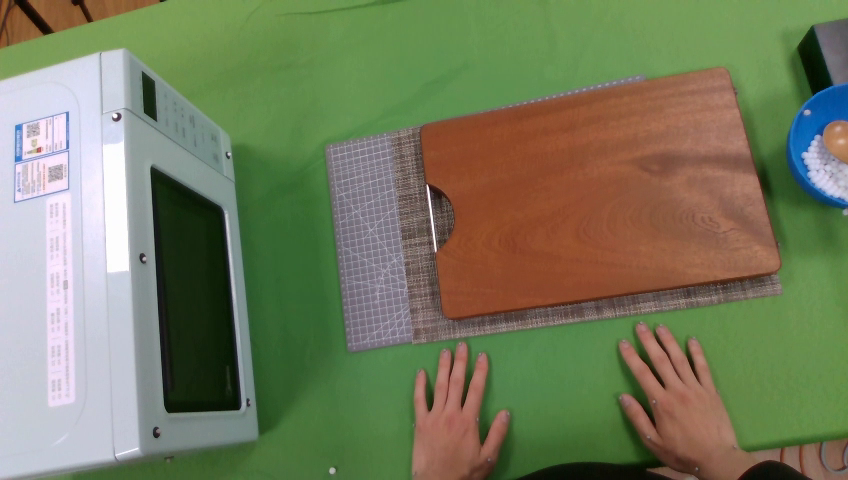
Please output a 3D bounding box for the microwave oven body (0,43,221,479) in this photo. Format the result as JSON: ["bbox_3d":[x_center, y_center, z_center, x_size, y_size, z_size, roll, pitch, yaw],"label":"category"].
[{"bbox_3d":[-0.428,0.050,0.741,0.326,0.262,0.439,-12,75,7],"label":"microwave oven body"}]

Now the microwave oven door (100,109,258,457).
[{"bbox_3d":[-0.280,0.058,0.707,0.039,0.245,0.353,-13,75,8],"label":"microwave oven door"}]

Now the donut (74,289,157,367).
[{"bbox_3d":[-0.383,0.109,0.753,0.099,0.048,0.099,0,91,-2],"label":"donut"}]

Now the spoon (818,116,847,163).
[{"bbox_3d":[0.488,-0.064,0.661,0.041,0.022,0.191,-11,52,6],"label":"spoon"}]

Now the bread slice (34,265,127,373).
[{"bbox_3d":[-0.404,0.102,0.710,0.134,0.018,0.106,-21,75,19],"label":"bread slice"}]

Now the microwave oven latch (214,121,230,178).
[{"bbox_3d":[-0.296,-0.126,0.859,0.030,0.030,0.078,-13,76,7],"label":"microwave oven latch"}]

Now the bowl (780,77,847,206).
[{"bbox_3d":[0.485,-0.103,0.702,0.151,0.077,0.150,-2,77,10],"label":"bowl"}]

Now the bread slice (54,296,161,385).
[{"bbox_3d":[-0.411,0.125,0.779,0.131,0.019,0.104,7,81,8],"label":"bread slice"}]
